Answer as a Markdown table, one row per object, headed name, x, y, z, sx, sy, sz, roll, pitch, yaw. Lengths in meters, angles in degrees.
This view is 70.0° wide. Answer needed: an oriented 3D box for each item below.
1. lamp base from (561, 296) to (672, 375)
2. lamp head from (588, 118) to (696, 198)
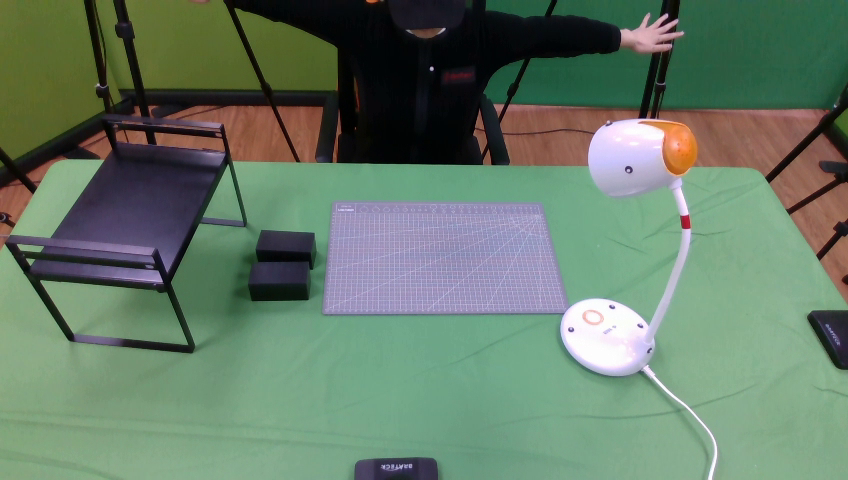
| name | x | y | z | sx | sy | sz | roll | pitch | yaw |
| --- | --- | --- | --- | --- | --- | --- | --- | --- | --- |
| lamp base | 0.332 | 0.119 | 0.996 | 0.160 | 0.181 | 0.178 | -34 | 59 | -30 |
| lamp head | 0.304 | -0.113 | 0.823 | 0.112 | 0.112 | 0.122 | -26 | 16 | -25 |
